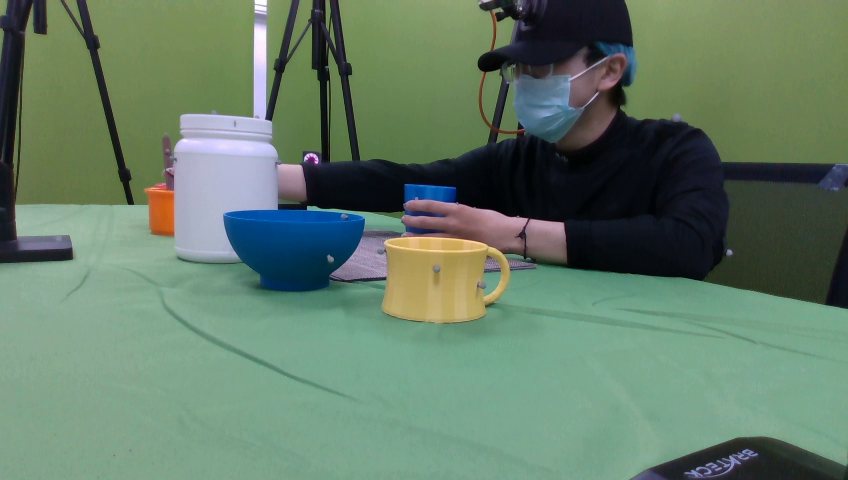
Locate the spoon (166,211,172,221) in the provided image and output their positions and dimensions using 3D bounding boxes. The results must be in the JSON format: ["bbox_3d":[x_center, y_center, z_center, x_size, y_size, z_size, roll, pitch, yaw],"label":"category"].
[{"bbox_3d":[-0.447,-0.104,1.192,0.041,0.022,0.193,7,52,14],"label":"spoon"}]

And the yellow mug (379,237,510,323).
[{"bbox_3d":[0.024,0.034,0.575,0.131,0.064,0.099,1,7,-22],"label":"yellow mug"}]

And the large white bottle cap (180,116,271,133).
[{"bbox_3d":[-0.262,-0.152,0.803,0.115,0.018,0.115,2,7,0],"label":"large white bottle cap"}]

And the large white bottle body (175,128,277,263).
[{"bbox_3d":[-0.265,-0.068,0.814,0.131,0.184,0.130,2,7,0],"label":"large white bottle body"}]

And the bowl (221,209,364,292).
[{"bbox_3d":[-0.142,0.011,0.660,0.151,0.077,0.151,2,7,0],"label":"bowl"}]

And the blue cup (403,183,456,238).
[{"bbox_3d":[0.007,-0.038,0.965,0.093,0.100,0.092,3,6,0],"label":"blue cup"}]

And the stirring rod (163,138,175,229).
[{"bbox_3d":[-0.435,-0.098,1.042,0.006,0.175,0.014,-25,-20,32],"label":"stirring rod"}]
